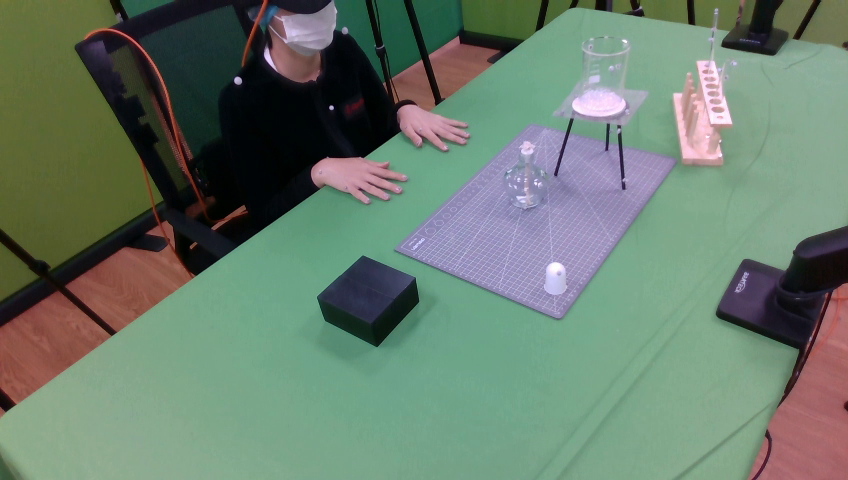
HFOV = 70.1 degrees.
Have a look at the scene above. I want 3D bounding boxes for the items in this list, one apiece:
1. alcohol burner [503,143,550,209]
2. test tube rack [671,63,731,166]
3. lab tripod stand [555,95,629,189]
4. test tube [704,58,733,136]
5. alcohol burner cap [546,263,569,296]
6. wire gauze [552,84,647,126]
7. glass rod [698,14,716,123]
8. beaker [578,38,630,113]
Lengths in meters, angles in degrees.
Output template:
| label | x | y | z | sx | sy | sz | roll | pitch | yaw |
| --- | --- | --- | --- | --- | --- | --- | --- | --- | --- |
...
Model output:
| label | x | y | z | sx | sy | sz | roll | pitch | yaw |
| --- | --- | --- | --- | --- | --- | --- | --- | --- | --- |
| alcohol burner | 0.171 | -0.111 | 1.007 | 0.078 | 0.119 | 0.077 | -3 | 41 | 3 |
| test tube rack | 0.513 | -0.241 | 1.132 | 0.066 | 0.085 | 0.242 | 4 | 41 | 14 |
| lab tripod stand | 0.300 | -0.174 | 1.045 | 0.148 | 0.132 | 0.147 | -5 | 38 | 5 |
| test tube | 0.516 | -0.247 | 1.062 | 0.017 | 0.151 | 0.017 | -3 | 43 | 4 |
| alcohol burner cap | 0.191 | 0.053 | 0.862 | 0.034 | 0.048 | 0.033 | -5 | 40 | 4 |
| wire gauze | 0.293 | -0.224 | 1.004 | 0.120 | 0.011 | 0.125 | 19 | 43 | 26 |
| glass rod | 0.531 | -0.320 | 1.136 | 0.008 | 0.200 | 0.008 | 3 | 12 | 0 |
| beaker | 0.290 | -0.265 | 0.976 | 0.084 | 0.101 | 0.073 | -18 | 41 | -14 |
